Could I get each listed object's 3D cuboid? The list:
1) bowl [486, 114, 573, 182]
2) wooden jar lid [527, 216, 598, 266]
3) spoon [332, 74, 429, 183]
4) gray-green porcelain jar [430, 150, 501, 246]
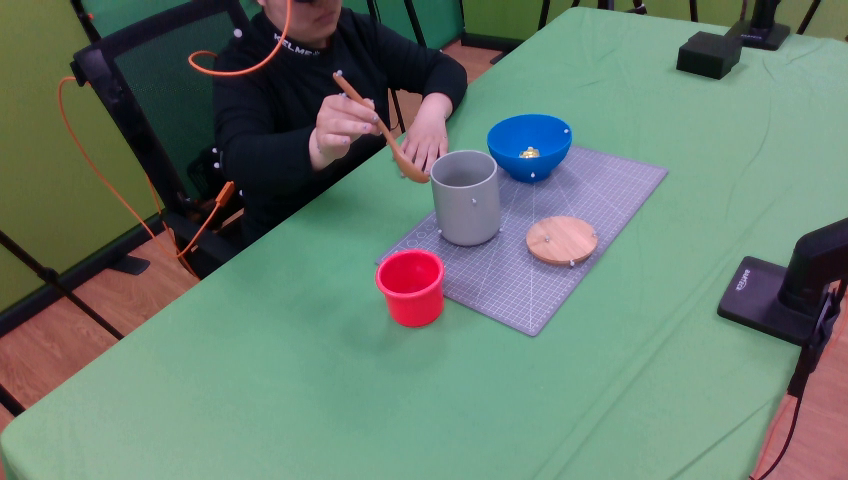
[{"bbox_3d":[0.190,-0.156,1.085,0.151,0.077,0.150,-5,40,5],"label":"bowl"},{"bbox_3d":[0.214,0.003,0.937,0.108,0.021,0.108,-4,40,4],"label":"wooden jar lid"},{"bbox_3d":[-0.057,-0.146,0.812,0.021,0.195,0.041,-47,23,-20],"label":"spoon"},{"bbox_3d":[0.068,-0.062,0.959,0.106,0.127,0.105,-5,40,5],"label":"gray-green porcelain jar"}]
